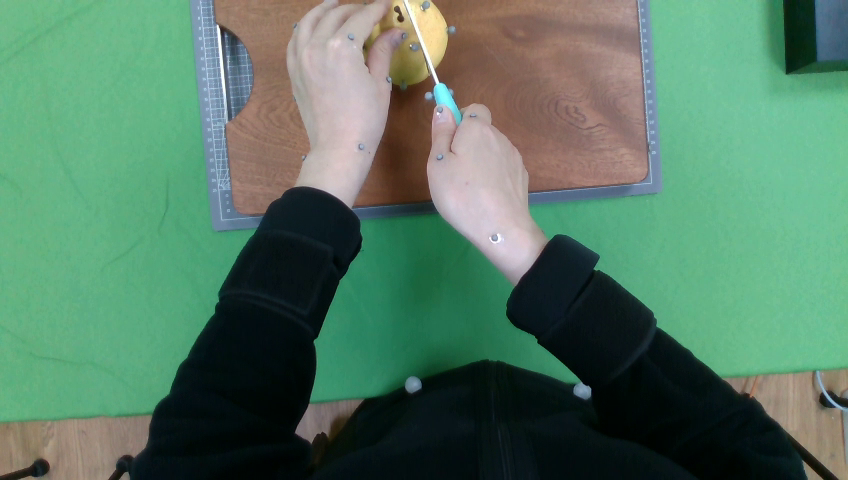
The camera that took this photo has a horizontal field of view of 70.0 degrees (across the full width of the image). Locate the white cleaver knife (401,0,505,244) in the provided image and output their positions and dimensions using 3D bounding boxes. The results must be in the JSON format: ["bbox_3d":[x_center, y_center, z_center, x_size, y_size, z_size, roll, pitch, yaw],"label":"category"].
[{"bbox_3d":[0.009,-0.132,0.483,0.021,0.066,0.286,-20,91,6],"label":"white cleaver knife"}]

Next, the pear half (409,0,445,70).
[{"bbox_3d":[0.001,-0.190,0.532,0.031,0.088,0.070,-26,86,-2],"label":"pear half"}]

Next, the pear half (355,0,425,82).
[{"bbox_3d":[-0.032,-0.176,0.522,0.056,0.110,0.076,-24,86,0],"label":"pear half"}]
